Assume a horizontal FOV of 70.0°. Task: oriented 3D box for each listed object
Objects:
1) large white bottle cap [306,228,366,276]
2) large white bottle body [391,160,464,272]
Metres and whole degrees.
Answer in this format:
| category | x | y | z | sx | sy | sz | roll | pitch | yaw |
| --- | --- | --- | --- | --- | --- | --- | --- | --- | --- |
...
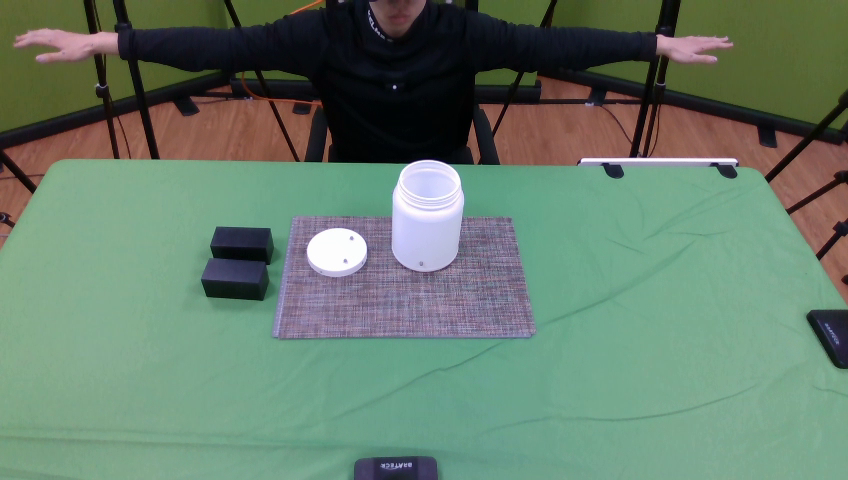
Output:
| category | x | y | z | sx | sy | sz | roll | pitch | yaw |
| --- | --- | --- | --- | --- | --- | --- | --- | --- | --- |
| large white bottle cap | -0.168 | 0.022 | 1.162 | 0.115 | 0.018 | 0.114 | 2 | 46 | -2 |
| large white bottle body | 0.005 | -0.045 | 1.124 | 0.131 | 0.185 | 0.130 | 2 | 47 | -2 |
